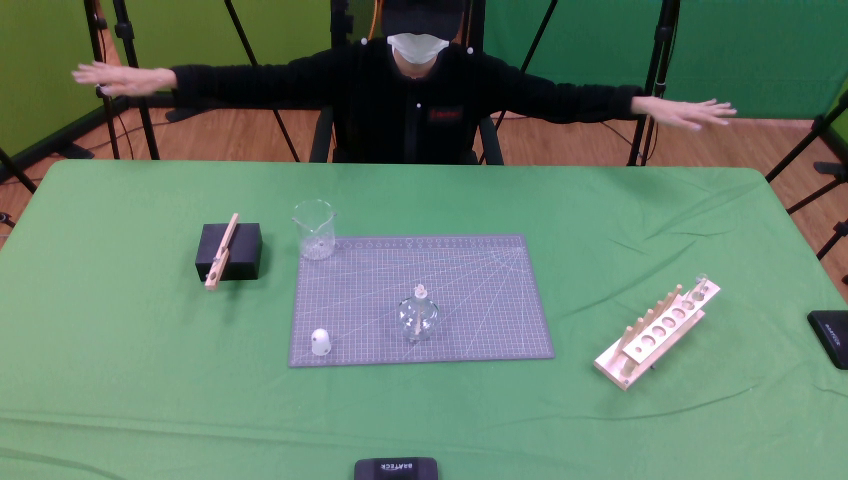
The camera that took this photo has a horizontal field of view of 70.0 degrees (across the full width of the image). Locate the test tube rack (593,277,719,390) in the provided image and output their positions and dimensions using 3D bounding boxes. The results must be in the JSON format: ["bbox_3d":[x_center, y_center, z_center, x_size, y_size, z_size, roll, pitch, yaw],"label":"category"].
[{"bbox_3d":[0.401,0.148,1.043,0.242,0.085,0.066,-30,55,-29],"label":"test tube rack"}]

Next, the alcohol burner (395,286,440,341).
[{"bbox_3d":[-0.010,0.116,1.018,0.078,0.119,0.077,3,47,-3],"label":"alcohol burner"}]

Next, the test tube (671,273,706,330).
[{"bbox_3d":[0.443,0.106,1.018,0.017,0.151,0.017,-1,49,1],"label":"test tube"}]

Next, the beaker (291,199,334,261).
[{"bbox_3d":[-0.206,-0.014,1.138,0.074,0.101,0.083,-7,48,-11],"label":"beaker"}]

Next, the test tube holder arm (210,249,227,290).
[{"bbox_3d":[-0.359,0.050,1.059,0.010,0.015,0.087,8,45,-8],"label":"test tube holder arm"}]

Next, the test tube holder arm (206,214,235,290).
[{"bbox_3d":[-0.364,0.017,1.090,0.013,0.015,0.177,7,45,-8],"label":"test tube holder arm"}]

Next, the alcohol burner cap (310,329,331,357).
[{"bbox_3d":[-0.173,0.168,1.005,0.034,0.048,0.033,2,46,-2],"label":"alcohol burner cap"}]
